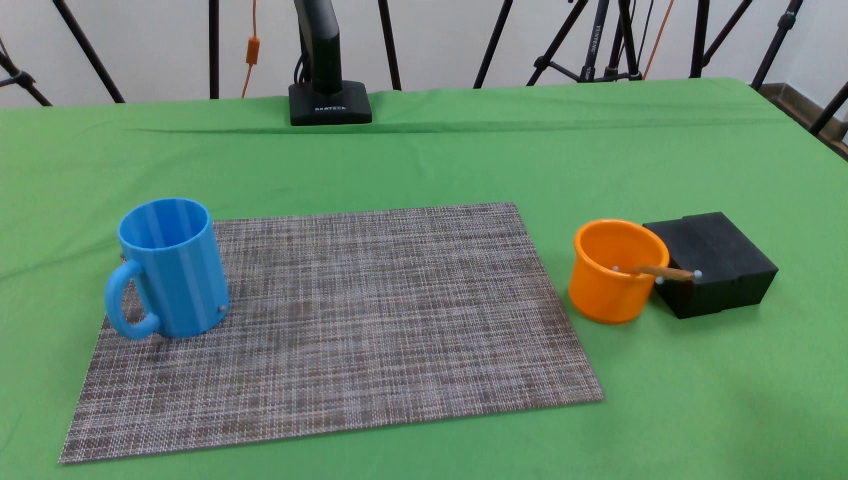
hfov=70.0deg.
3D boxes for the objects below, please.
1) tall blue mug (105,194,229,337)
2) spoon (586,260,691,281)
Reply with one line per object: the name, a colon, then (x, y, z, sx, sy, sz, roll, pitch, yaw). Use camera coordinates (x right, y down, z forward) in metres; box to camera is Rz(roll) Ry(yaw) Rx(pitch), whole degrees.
tall blue mug: (-0.228, 0.033, 0.549, 0.078, 0.109, 0.106, 2, 40, -3)
spoon: (0.196, 0.027, 0.565, 0.041, 0.194, 0.021, 4, 84, -2)
